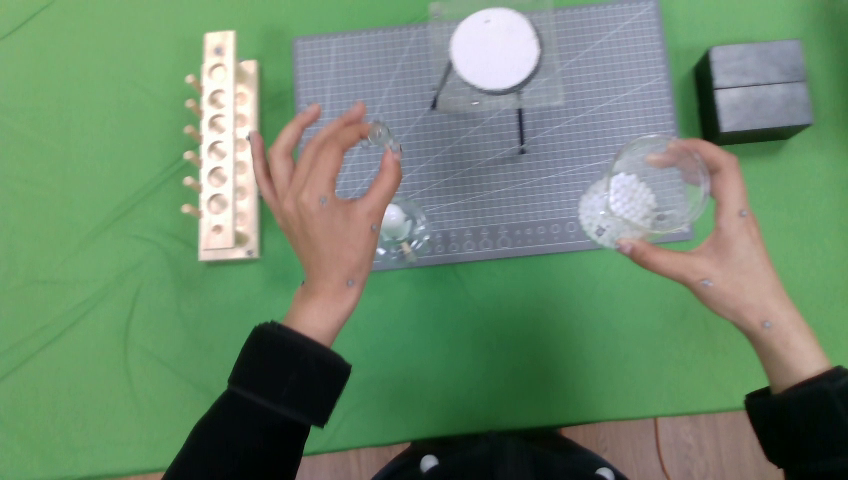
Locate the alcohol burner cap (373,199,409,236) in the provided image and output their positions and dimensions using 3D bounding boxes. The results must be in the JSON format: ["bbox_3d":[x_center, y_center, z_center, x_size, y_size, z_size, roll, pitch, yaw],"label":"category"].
[{"bbox_3d":[-0.036,-0.024,0.617,0.034,0.048,0.033,-2,78,8],"label":"alcohol burner cap"}]

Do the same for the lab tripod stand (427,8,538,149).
[{"bbox_3d":[0.072,-0.182,0.662,0.148,0.132,0.148,-1,79,4],"label":"lab tripod stand"}]

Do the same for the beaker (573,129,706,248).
[{"bbox_3d":[0.164,-0.033,0.486,0.084,0.100,0.074,-30,82,-7],"label":"beaker"}]

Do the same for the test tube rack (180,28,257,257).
[{"bbox_3d":[-0.238,-0.107,0.692,0.067,0.085,0.241,-3,81,2],"label":"test tube rack"}]

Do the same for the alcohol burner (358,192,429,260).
[{"bbox_3d":[-0.034,-0.018,0.652,0.078,0.119,0.077,0,80,2],"label":"alcohol burner"}]

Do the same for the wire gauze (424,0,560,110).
[{"bbox_3d":[0.066,-0.189,0.596,0.125,0.011,0.121,-5,82,2],"label":"wire gauze"}]

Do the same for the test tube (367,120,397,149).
[{"bbox_3d":[-0.032,-0.084,0.489,0.017,0.150,0.017,0,97,0],"label":"test tube"}]
